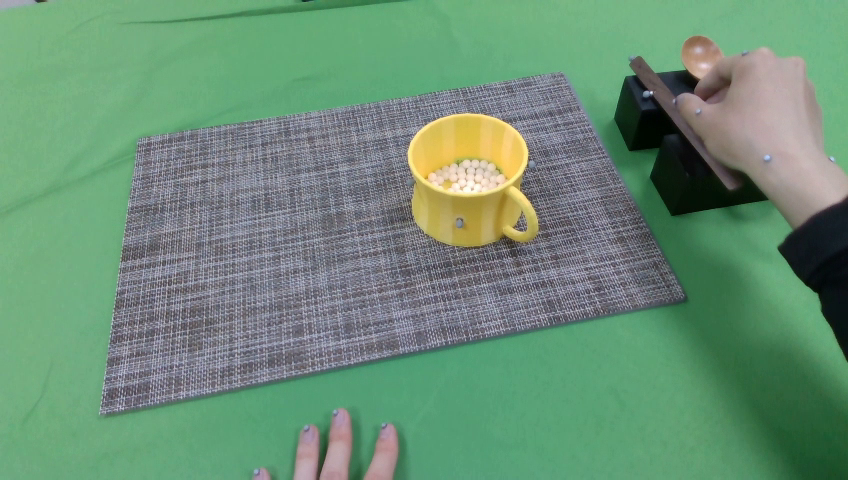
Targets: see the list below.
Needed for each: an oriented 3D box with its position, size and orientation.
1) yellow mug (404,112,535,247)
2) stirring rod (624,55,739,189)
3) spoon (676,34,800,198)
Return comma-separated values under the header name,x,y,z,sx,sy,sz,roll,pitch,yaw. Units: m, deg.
name,x,y,z,sx,sy,sz,roll,pitch,yaw
yellow mug,0.045,-0.044,0.514,0.100,0.064,0.129,-37,60,-23
stirring rod,0.220,-0.109,0.530,0.014,0.006,0.174,-37,50,22
spoon,0.272,-0.113,0.528,0.042,0.022,0.191,-10,55,-6
